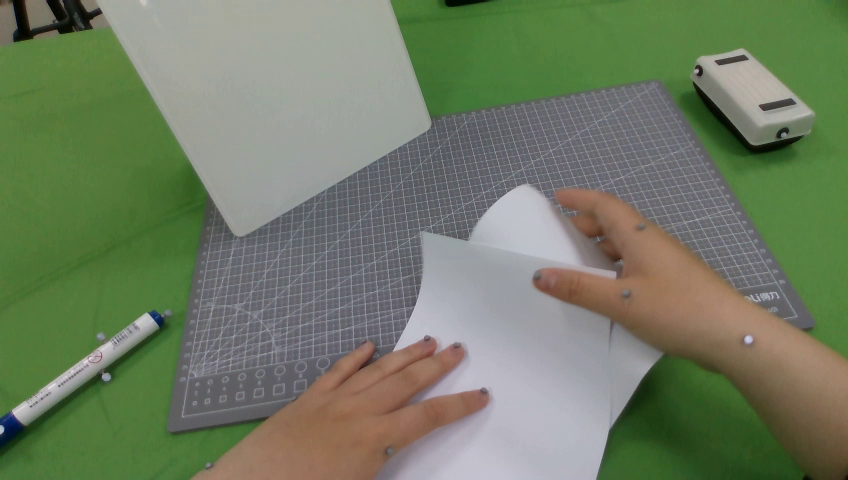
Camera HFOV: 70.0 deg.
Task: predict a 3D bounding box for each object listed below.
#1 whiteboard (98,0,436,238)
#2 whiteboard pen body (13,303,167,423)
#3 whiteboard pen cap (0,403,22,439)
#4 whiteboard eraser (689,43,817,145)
[{"bbox_3d":[-0.156,-0.200,0.532,0.217,0.308,0.142,-33,32,-18],"label":"whiteboard"},{"bbox_3d":[-0.251,0.094,0.442,0.017,0.017,0.140,33,60,30],"label":"whiteboard pen body"},{"bbox_3d":[-0.292,0.127,0.417,0.018,0.018,0.033,33,60,30],"label":"whiteboard pen cap"},{"bbox_3d":[0.291,-0.131,0.545,0.055,0.042,0.111,-15,50,-3],"label":"whiteboard eraser"}]
